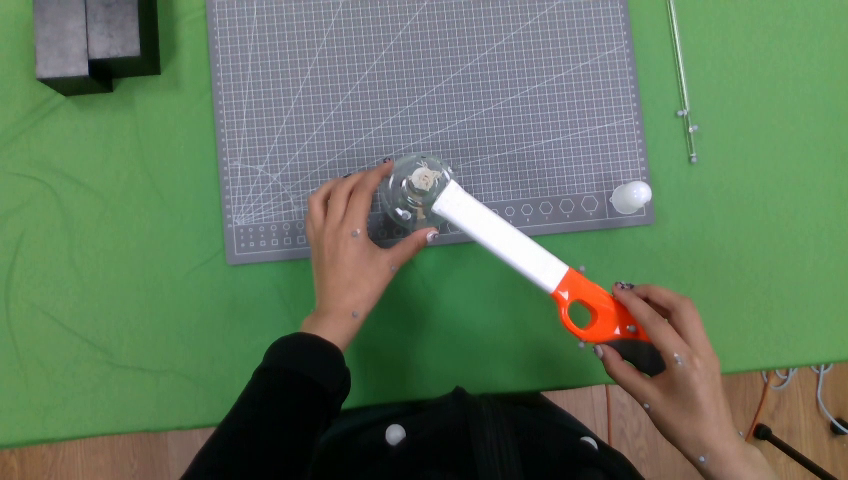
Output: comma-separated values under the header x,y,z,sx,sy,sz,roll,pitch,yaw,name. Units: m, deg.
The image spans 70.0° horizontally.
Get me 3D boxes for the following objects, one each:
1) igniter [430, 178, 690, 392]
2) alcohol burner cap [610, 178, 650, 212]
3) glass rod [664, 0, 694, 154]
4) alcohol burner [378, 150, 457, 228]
x,y,z,sx,sy,sz,roll,pitch,yaw,name
0.124,0.041,0.527,0.277,0.025,0.057,36,81,-5,igniter
0.215,-0.049,0.626,0.034,0.048,0.034,0,85,-3,alcohol burner cap
0.276,-0.191,0.659,0.008,0.008,0.199,-7,86,-3,glass rod
-0.005,-0.052,0.580,0.078,0.119,0.077,0,83,-3,alcohol burner
